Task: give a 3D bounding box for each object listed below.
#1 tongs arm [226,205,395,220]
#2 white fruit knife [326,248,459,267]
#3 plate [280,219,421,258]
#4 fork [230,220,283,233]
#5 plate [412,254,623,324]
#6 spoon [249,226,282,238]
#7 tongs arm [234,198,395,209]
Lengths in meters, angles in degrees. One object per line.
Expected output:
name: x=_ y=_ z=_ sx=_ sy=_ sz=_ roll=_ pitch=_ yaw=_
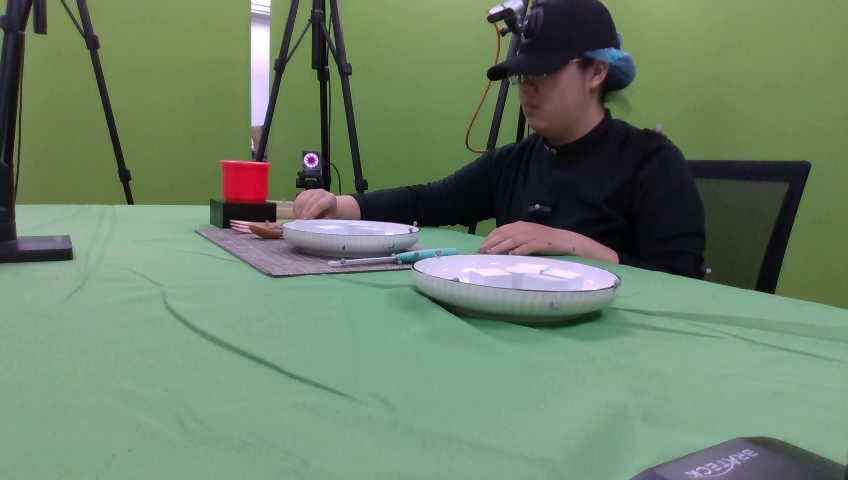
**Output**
tongs arm: x=-0.247 y=-0.063 z=1.382 sx=0.389 sy=0.028 sz=0.028 roll=0 pitch=5 yaw=-21
white fruit knife: x=-0.034 y=0.025 z=0.807 sx=0.208 sy=0.016 sz=0.027 roll=-4 pitch=-19 yaw=-34
plate: x=-0.108 y=-0.002 z=0.902 sx=0.208 sy=0.039 sz=0.207 roll=3 pitch=7 yaw=0
fork: x=-0.240 y=-0.025 z=1.083 sx=0.208 sy=0.018 sz=0.028 roll=-2 pitch=42 yaw=-26
plate: x=0.091 y=0.047 z=0.609 sx=0.209 sy=0.038 sz=0.209 roll=2 pitch=7 yaw=0
spoon: x=-0.198 y=-0.015 z=1.024 sx=0.195 sy=0.021 sz=0.041 roll=-2 pitch=-10 yaw=-30
tongs arm: x=-0.263 y=-0.076 z=1.460 sx=0.386 sy=0.026 sz=0.050 roll=3 pitch=7 yaw=-8
